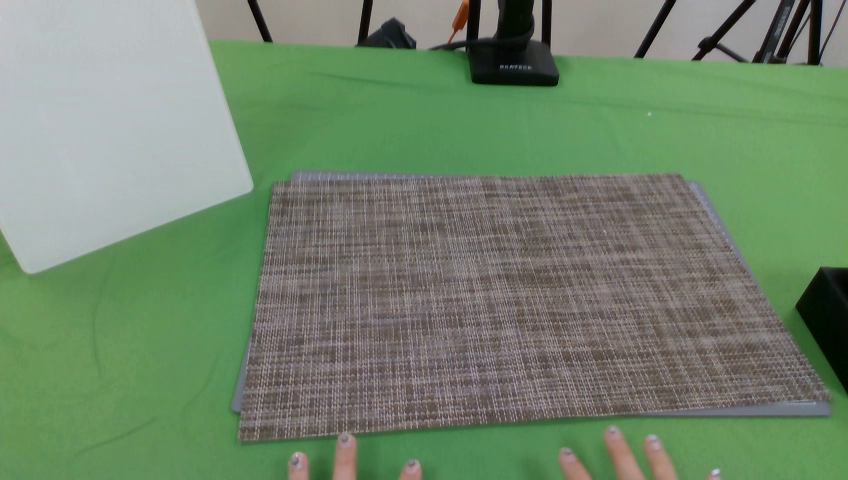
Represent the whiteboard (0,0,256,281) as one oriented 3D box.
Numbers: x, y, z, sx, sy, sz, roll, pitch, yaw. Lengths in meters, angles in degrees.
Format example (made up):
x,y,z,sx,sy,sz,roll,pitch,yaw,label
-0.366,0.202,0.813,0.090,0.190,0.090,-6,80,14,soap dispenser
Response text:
x,y,z,sx,sy,sz,roll,pitch,yaw,label
-0.321,-0.159,0.553,0.217,0.308,0.142,-27,31,-28,whiteboard
